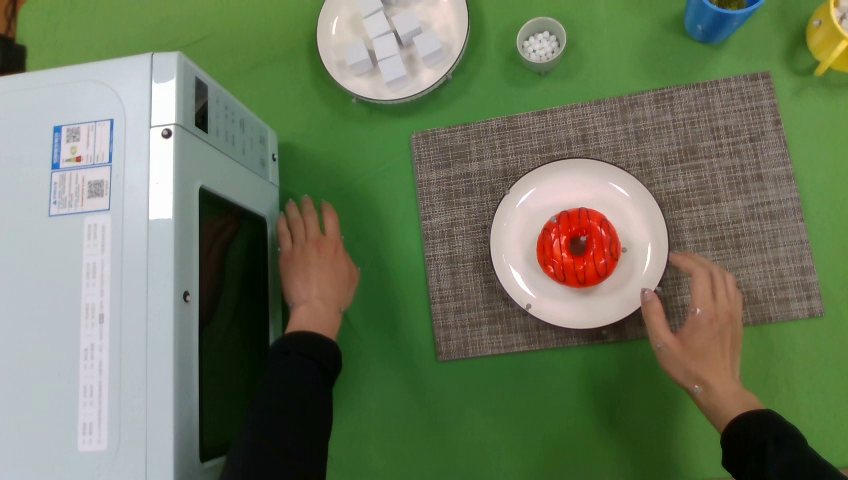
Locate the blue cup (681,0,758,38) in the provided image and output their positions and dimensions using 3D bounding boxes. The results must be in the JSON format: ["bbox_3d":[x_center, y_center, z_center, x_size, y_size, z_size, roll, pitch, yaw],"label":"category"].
[{"bbox_3d":[0.347,-0.288,0.714,0.092,0.100,0.092,-1,82,9],"label":"blue cup"}]

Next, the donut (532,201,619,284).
[{"bbox_3d":[0.178,0.003,0.716,0.099,0.048,0.099,-1,84,10],"label":"donut"}]

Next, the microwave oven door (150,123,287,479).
[{"bbox_3d":[-0.218,0.080,0.664,0.039,0.245,0.354,-6,80,9],"label":"microwave oven door"}]

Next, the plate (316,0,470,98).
[{"bbox_3d":[-0.040,-0.285,0.812,0.207,0.039,0.207,-2,81,10],"label":"plate"}]

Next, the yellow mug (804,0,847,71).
[{"bbox_3d":[0.497,-0.250,0.700,0.099,0.064,0.131,41,91,13],"label":"yellow mug"}]

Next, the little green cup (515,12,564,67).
[{"bbox_3d":[0.148,-0.253,0.775,0.061,0.039,0.061,-2,81,10],"label":"little green cup"}]

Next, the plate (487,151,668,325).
[{"bbox_3d":[0.181,-0.002,0.728,0.209,0.038,0.208,-1,82,10],"label":"plate"}]

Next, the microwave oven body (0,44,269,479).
[{"bbox_3d":[-0.364,0.052,0.699,0.325,0.261,0.440,-5,81,8],"label":"microwave oven body"}]

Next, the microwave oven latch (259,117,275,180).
[{"bbox_3d":[-0.213,-0.120,0.797,0.030,0.029,0.079,-4,82,9],"label":"microwave oven latch"}]
